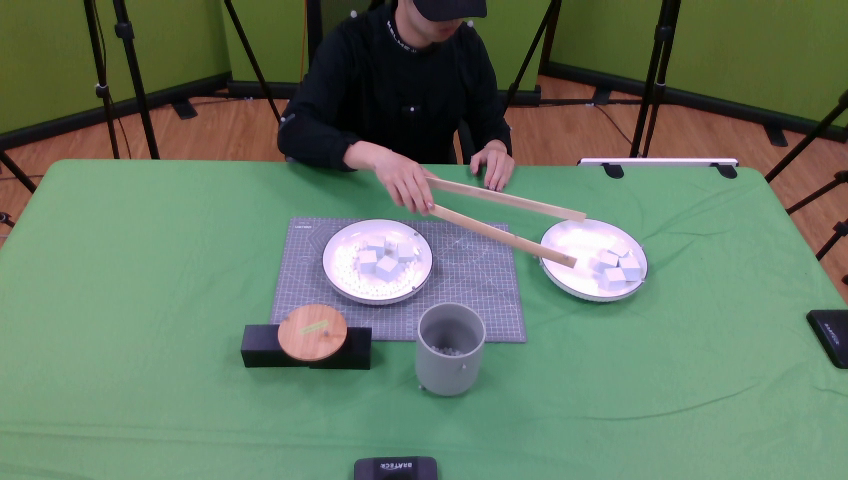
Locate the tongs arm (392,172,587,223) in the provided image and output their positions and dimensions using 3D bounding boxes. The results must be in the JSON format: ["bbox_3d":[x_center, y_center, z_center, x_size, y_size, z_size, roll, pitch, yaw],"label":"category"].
[{"bbox_3d":[0.127,-0.082,1.190,0.387,0.028,0.028,12,48,2],"label":"tongs arm"}]

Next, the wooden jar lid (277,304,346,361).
[{"bbox_3d":[-0.179,0.150,0.972,0.108,0.021,0.107,2,45,-2],"label":"wooden jar lid"}]

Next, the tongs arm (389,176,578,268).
[{"bbox_3d":[0.104,-0.036,1.135,0.384,0.026,0.050,20,45,11],"label":"tongs arm"}]

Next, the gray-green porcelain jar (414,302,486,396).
[{"bbox_3d":[0.038,0.177,0.958,0.106,0.127,0.105,2,46,-2],"label":"gray-green porcelain jar"}]

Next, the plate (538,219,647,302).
[{"bbox_3d":[0.322,0.042,1.171,0.208,0.039,0.206,2,46,-2],"label":"plate"}]

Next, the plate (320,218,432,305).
[{"bbox_3d":[-0.088,0.044,1.134,0.209,0.038,0.208,3,46,-2],"label":"plate"}]
